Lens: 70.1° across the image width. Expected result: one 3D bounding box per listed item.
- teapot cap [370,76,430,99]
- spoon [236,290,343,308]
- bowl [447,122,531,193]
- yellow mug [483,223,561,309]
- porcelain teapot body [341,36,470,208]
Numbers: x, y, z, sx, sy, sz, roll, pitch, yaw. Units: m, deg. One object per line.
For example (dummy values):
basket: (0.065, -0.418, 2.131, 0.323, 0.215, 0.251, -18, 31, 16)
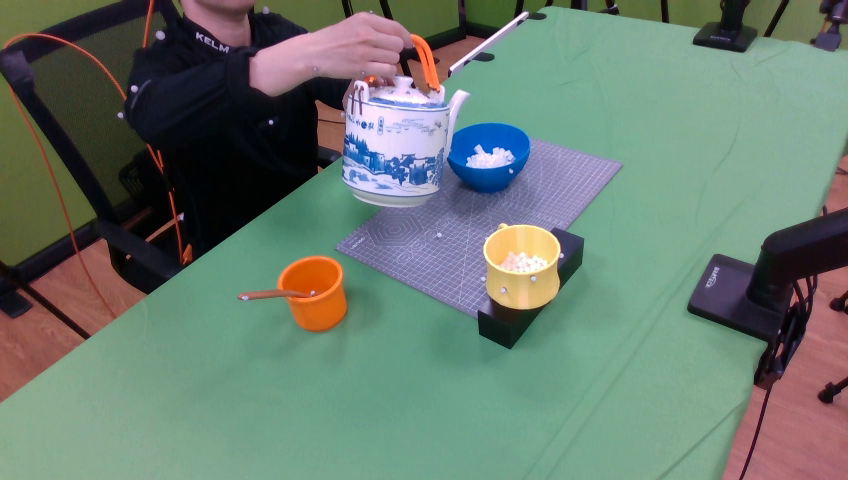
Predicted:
teapot cap: (-0.032, -0.204, 0.837, 0.085, 0.044, 0.085, 7, 17, -2)
spoon: (-0.176, 0.076, 0.808, 0.041, 0.195, 0.021, 23, 94, 30)
bowl: (0.113, -0.136, 1.063, 0.151, 0.077, 0.150, -4, 41, 4)
yellow mug: (0.126, 0.025, 0.811, 0.100, 0.064, 0.130, -16, 39, -9)
porcelain teapot body: (-0.016, -0.172, 0.868, 0.207, 0.225, 0.144, -11, 26, -42)
